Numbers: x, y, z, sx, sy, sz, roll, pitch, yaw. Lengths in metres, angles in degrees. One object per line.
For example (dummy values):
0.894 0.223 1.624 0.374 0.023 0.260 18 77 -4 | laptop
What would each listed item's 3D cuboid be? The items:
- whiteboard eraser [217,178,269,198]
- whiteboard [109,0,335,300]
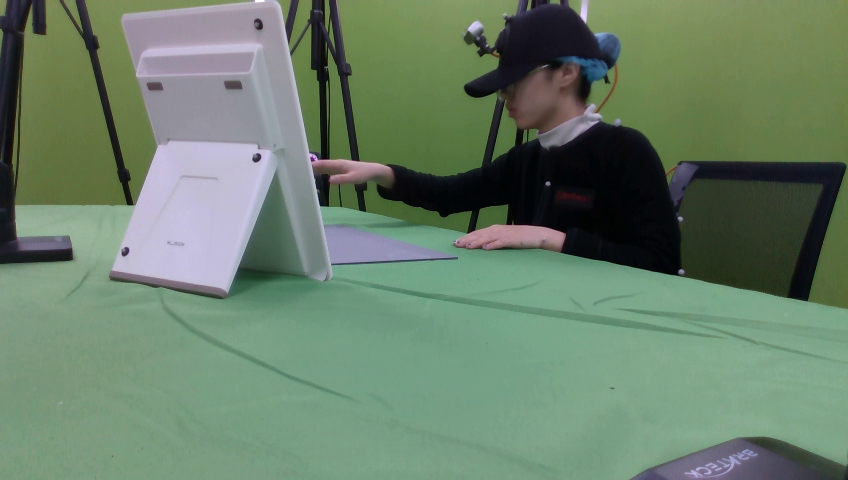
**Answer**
-0.389 -0.113 1.304 0.055 0.042 0.113 4 7 20 | whiteboard eraser
-0.247 -0.072 0.624 0.216 0.305 0.144 6 28 26 | whiteboard
